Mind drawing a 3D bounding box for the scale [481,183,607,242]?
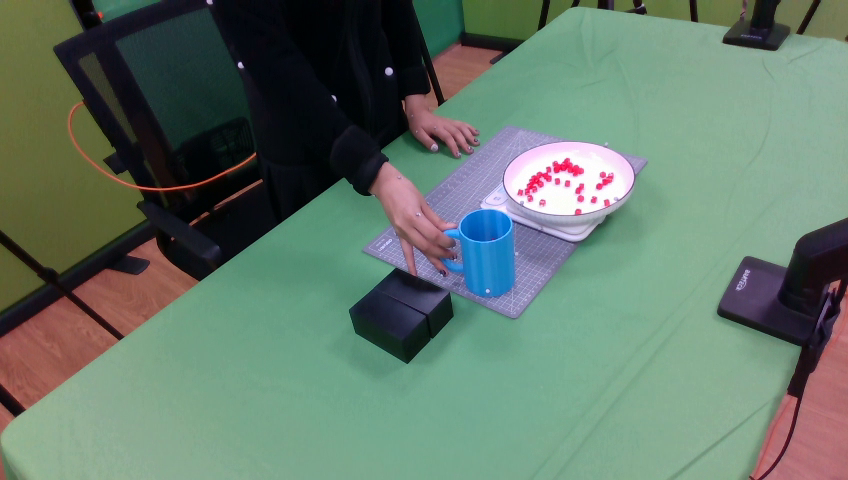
[{"bbox_3d":[0.211,-0.070,1.014,0.199,0.032,0.149,23,49,33],"label":"scale"}]

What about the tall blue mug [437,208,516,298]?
[{"bbox_3d":[0.078,0.023,0.869,0.107,0.108,0.077,-14,41,-6],"label":"tall blue mug"}]

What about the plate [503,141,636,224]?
[{"bbox_3d":[0.233,-0.091,0.983,0.209,0.038,0.208,-5,41,5],"label":"plate"}]
